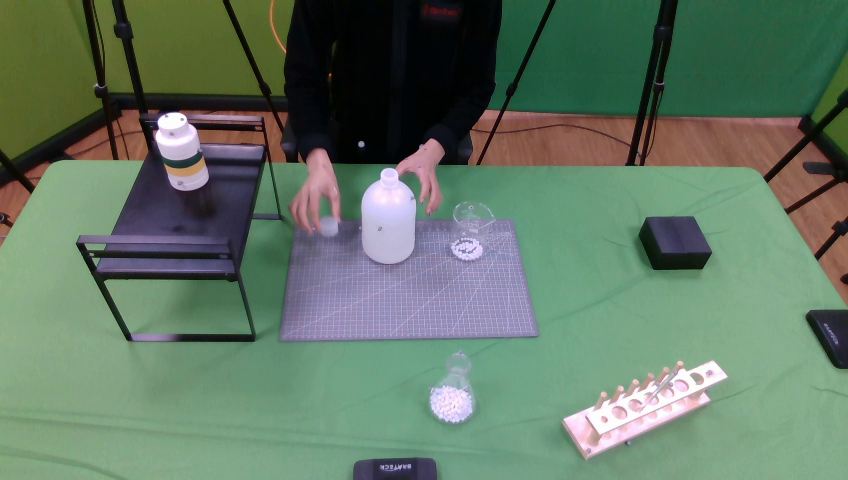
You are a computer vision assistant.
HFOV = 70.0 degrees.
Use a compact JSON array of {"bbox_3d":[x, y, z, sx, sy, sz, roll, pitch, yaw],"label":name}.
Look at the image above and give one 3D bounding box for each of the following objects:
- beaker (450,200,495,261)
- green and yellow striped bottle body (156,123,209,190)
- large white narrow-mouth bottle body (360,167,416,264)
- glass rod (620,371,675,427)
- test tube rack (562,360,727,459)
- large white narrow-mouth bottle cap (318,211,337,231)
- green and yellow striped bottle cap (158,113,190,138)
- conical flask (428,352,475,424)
[{"bbox_3d":[0.089,-0.014,1.161,0.084,0.101,0.073,9,47,4],"label":"beaker"},{"bbox_3d":[-0.395,-0.145,0.989,0.063,0.120,0.063,2,46,-2],"label":"green and yellow striped bottle body"},{"bbox_3d":[-0.067,-0.051,1.119,0.102,0.195,0.101,3,46,-3],"label":"large white narrow-mouth bottle body"},{"bbox_3d":[0.316,0.230,0.863,0.008,0.200,0.008,3,54,-3],"label":"glass rod"},{"bbox_3d":[0.341,0.247,0.940,0.243,0.085,0.066,-16,49,-18],"label":"test tube rack"},{"bbox_3d":[-0.181,-0.036,1.139,0.038,0.024,0.037,3,45,-3],"label":"large white narrow-mouth bottle cap"},{"bbox_3d":[-0.393,-0.180,0.951,0.045,0.020,0.045,2,44,-2],"label":"green and yellow striped bottle cap"},{"bbox_3d":[0.046,0.220,0.920,0.075,0.122,0.075,2,46,-2],"label":"conical flask"}]
